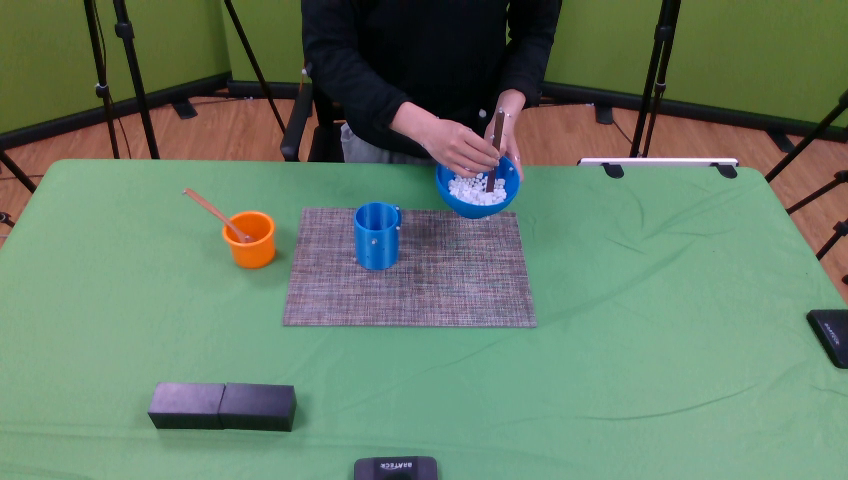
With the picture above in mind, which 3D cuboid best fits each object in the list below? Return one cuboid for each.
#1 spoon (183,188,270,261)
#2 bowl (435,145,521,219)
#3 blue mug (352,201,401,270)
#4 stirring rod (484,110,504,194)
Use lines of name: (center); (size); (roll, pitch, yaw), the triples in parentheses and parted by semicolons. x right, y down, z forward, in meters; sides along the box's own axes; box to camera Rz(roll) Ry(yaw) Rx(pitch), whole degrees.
spoon: (-0.360, -0.029, 1.110); (0.021, 0.194, 0.041); (-21, 31, 41)
bowl: (0.090, -0.091, 1.080); (0.151, 0.077, 0.150); (3, 51, -4)
blue mug: (-0.082, -0.017, 1.144); (0.082, 0.106, 0.116); (30, 51, 22)
stirring rod: (0.118, -0.144, 1.026); (0.014, 0.177, 0.006); (-4, 47, -6)
